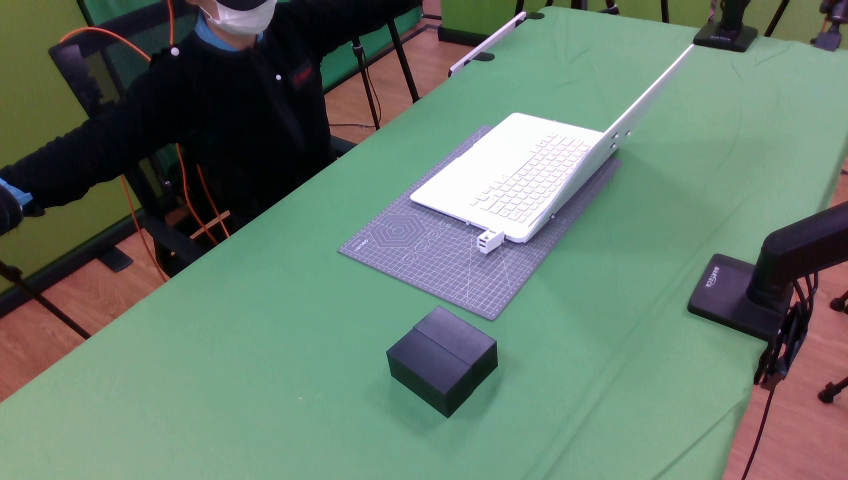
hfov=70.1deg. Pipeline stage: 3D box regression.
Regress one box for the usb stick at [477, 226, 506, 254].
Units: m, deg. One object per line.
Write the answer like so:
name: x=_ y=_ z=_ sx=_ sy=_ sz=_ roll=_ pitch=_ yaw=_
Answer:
usb stick: x=0.107 y=-0.004 z=0.933 sx=0.021 sy=0.027 sz=0.059 roll=25 pitch=37 yaw=35

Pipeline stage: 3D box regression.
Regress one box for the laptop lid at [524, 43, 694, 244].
laptop lid: x=0.290 y=-0.151 z=0.941 sx=0.013 sy=0.241 sz=0.358 roll=40 pitch=54 yaw=12

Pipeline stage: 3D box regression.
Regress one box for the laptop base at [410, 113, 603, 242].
laptop base: x=0.171 y=-0.127 z=1.096 sx=0.233 sy=0.023 sz=0.355 roll=21 pitch=47 yaw=34
